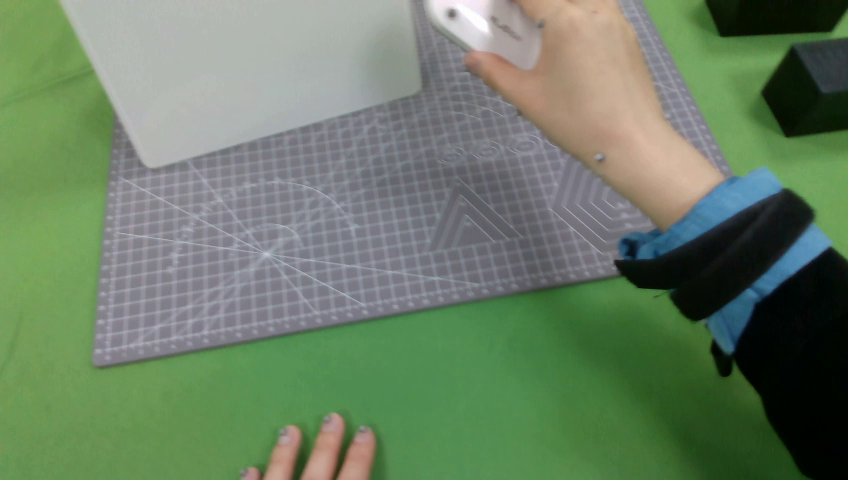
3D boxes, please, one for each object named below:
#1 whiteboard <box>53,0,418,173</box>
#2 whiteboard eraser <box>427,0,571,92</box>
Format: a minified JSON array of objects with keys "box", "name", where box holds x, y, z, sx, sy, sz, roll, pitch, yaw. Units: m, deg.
[{"box":[-0.146,-0.237,0.407,0.217,0.308,0.142,-19,43,-10],"name":"whiteboard"},{"box":[0.049,-0.133,0.385,0.102,0.019,0.041,33,85,-12],"name":"whiteboard eraser"}]
